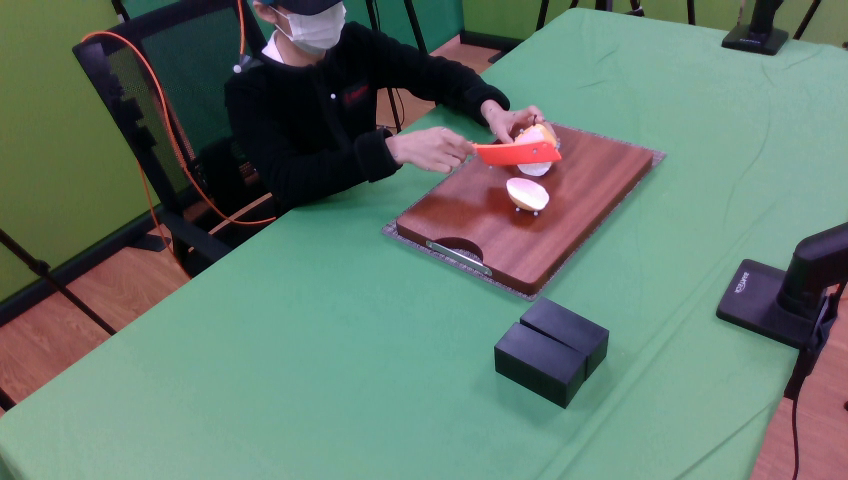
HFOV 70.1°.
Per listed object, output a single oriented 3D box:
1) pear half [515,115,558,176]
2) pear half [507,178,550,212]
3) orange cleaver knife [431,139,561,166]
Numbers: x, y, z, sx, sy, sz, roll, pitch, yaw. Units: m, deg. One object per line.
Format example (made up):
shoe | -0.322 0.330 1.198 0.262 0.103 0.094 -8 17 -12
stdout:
pear half | 0.195 -0.170 1.035 0.076 0.110 0.056 15 46 19
pear half | 0.167 -0.066 0.975 0.071 0.031 0.087 -3 45 -16
orange cleaver knife | 0.118 -0.142 0.999 0.210 0.077 0.012 0 68 15
